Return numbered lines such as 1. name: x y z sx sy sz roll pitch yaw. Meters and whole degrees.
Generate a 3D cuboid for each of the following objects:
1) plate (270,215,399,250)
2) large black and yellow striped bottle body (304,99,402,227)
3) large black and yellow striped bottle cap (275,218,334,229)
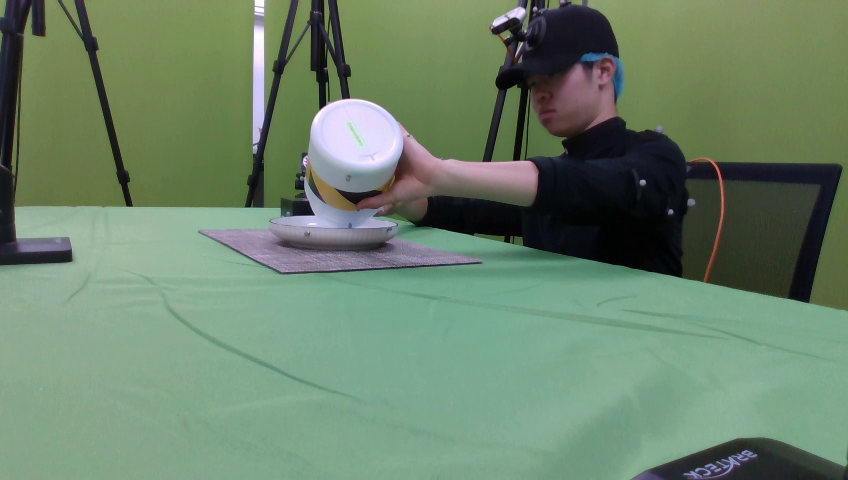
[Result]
1. plate: -0.145 -0.013 0.992 0.208 0.039 0.207 2 7 0
2. large black and yellow striped bottle body: -0.113 -0.107 0.916 0.131 0.130 0.184 1 -28 -16
3. large black and yellow striped bottle cap: -0.236 -0.033 1.197 0.115 0.019 0.115 2 3 0
